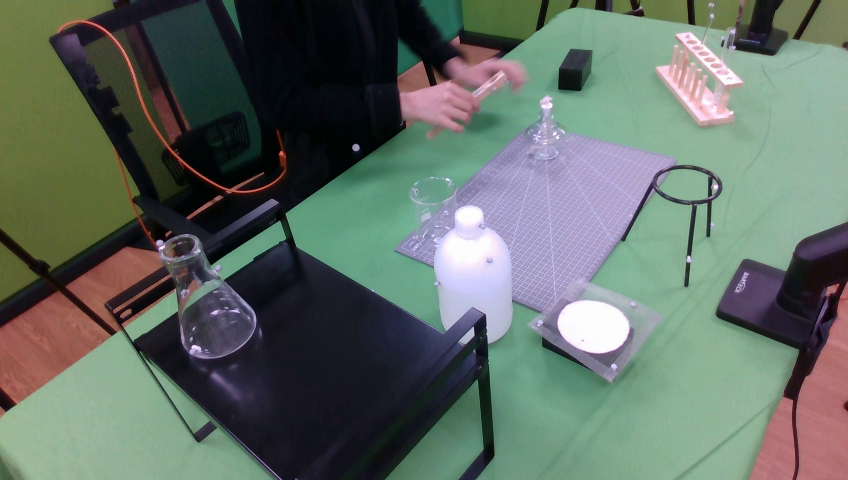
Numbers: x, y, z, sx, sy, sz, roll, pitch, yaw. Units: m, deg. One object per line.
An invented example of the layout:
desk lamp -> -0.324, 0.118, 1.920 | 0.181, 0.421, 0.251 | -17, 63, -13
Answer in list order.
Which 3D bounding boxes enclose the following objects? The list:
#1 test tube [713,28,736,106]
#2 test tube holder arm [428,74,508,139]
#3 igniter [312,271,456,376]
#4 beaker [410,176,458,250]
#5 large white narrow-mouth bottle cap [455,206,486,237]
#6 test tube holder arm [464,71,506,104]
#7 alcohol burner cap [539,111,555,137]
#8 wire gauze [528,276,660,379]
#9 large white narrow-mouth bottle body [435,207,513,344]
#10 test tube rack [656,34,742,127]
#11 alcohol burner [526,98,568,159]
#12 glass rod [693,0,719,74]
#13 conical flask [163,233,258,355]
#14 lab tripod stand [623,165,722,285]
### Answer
test tube -> 0.570, -0.325, 1.149 | 0.017, 0.151, 0.017 | -4, 36, 4
test tube holder arm -> 0.078, -0.243, 1.106 | 0.178, 0.015, 0.013 | -36, 41, 21
igniter -> -0.068, 0.111, 0.859 | 0.274, 0.025, 0.057 | 27, 61, 34
beaker -> 0.022, -0.041, 0.964 | 0.073, 0.101, 0.084 | 28, 51, 35
large white narrow-mouth bottle cap -> 0.057, -0.023, 0.734 | 0.038, 0.024, 0.037 | -4, 40, 4
test tube holder arm -> 0.111, -0.272, 1.094 | 0.087, 0.015, 0.010 | -36, 41, 21
alcohol burner cap -> 0.243, -0.232, 1.197 | 0.034, 0.048, 0.033 | -4, 40, 4
wire gauze -> 0.213, 0.103, 0.763 | 0.124, 0.011, 0.122 | 30, 52, 35
large white narrow-mouth bottle body -> 0.065, 0.041, 0.791 | 0.102, 0.195, 0.101 | -4, 41, 4
test tube rack -> 0.553, -0.330, 1.233 | 0.067, 0.085, 0.241 | -7, 40, 2
alcohol burner -> 0.228, -0.210, 1.118 | 0.078, 0.119, 0.077 | -5, 43, 5
glass rod -> 0.561, -0.401, 1.214 | 0.008, 0.200, 0.008 | -1, 48, 2
conical flask -> -0.217, 0.051, 0.601 | 0.075, 0.122, 0.075 | -4, 40, 4
lab tripod stand -> 0.365, -0.030, 0.875 | 0.148, 0.132, 0.147 | -6, 41, 6
